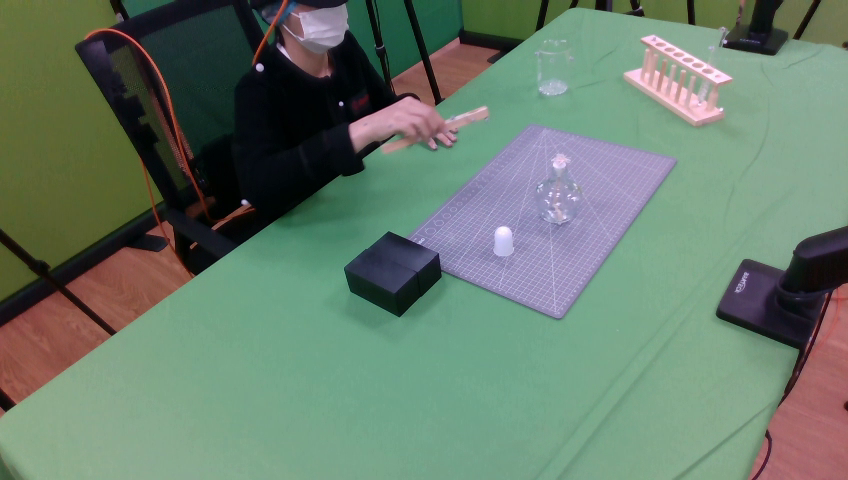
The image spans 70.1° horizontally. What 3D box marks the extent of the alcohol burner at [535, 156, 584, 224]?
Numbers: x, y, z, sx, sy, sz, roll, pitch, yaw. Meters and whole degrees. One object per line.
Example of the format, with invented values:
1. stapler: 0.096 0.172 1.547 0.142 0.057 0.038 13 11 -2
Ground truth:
1. alcohol burner: 0.217 -0.085 0.967 0.078 0.119 0.077 -3 41 3

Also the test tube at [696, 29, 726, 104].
1. test tube: 0.544 -0.326 1.150 0.017 0.151 0.017 0 41 1

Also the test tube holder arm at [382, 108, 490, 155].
1. test tube holder arm: 0.018 -0.172 0.956 0.178 0.015 0.013 -21 21 -2

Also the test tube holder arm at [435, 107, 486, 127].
1. test tube holder arm: 0.060 -0.190 0.963 0.088 0.015 0.010 -21 21 -1

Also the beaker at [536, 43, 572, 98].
1. beaker: 0.280 -0.368 1.311 0.074 0.101 0.084 4 41 14

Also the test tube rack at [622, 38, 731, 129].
1. test tube rack: 0.506 -0.325 1.234 0.067 0.085 0.240 -18 41 -11

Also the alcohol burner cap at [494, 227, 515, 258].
1. alcohol burner cap: 0.124 0.001 0.936 0.034 0.048 0.033 -4 40 4
